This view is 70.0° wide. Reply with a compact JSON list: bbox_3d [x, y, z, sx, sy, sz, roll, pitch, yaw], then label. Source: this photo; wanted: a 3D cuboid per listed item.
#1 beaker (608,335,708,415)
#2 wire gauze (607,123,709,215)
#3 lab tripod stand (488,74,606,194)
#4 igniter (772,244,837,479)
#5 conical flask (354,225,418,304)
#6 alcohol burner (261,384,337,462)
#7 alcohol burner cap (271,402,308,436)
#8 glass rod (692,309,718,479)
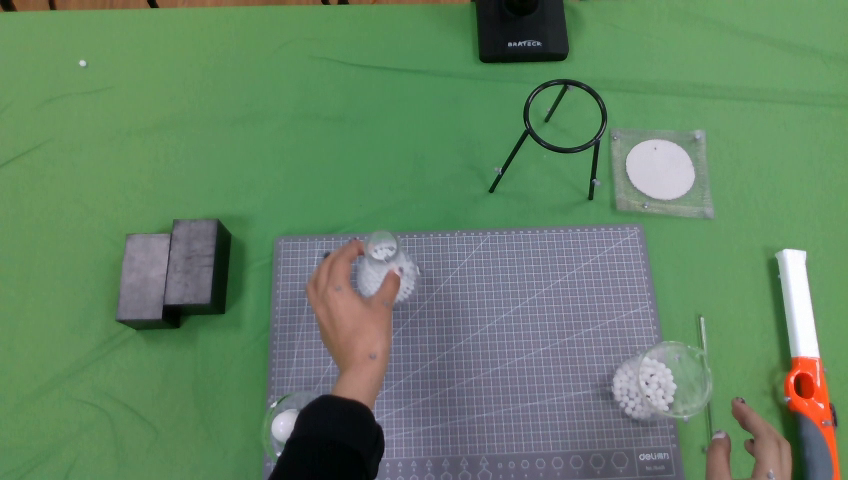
[{"bbox_3d":[0.242,0.144,0.636,0.084,0.101,0.073,-37,76,-13],"label":"beaker"},{"bbox_3d":[0.297,-0.093,0.768,0.125,0.011,0.120,4,72,-1],"label":"wire gauze"},{"bbox_3d":[0.147,-0.116,0.708,0.148,0.132,0.147,0,73,0],"label":"lab tripod stand"},{"bbox_3d":[0.426,0.138,0.681,0.057,0.025,0.275,7,71,-10],"label":"igniter"},{"bbox_3d":[-0.045,0.021,0.661,0.075,0.122,0.075,0,71,0],"label":"conical flask"},{"bbox_3d":[-0.130,0.183,0.610,0.078,0.120,0.077,0,70,2],"label":"alcohol burner"},{"bbox_3d":[-0.129,0.170,0.576,0.034,0.048,0.033,1,75,-3],"label":"alcohol burner cap"},{"bbox_3d":[0.315,0.175,0.678,0.008,0.008,0.198,2,71,0],"label":"glass rod"}]
